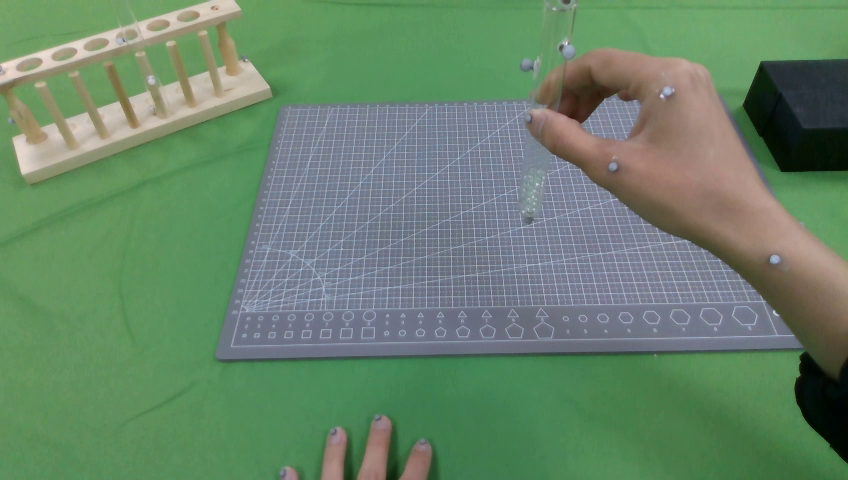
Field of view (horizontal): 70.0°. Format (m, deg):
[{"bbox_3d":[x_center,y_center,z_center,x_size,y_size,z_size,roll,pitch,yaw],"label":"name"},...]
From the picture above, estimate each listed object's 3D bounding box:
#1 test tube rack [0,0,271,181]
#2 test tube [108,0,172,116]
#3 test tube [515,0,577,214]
[{"bbox_3d":[-0.282,-0.152,0.586,0.242,0.086,0.066,-26,53,-19],"label":"test tube rack"},{"bbox_3d":[-0.260,-0.176,0.548,0.017,0.152,0.017,0,49,1],"label":"test tube"},{"bbox_3d":[0.063,-0.064,0.328,0.017,0.151,0.017,-1,54,2],"label":"test tube"}]
